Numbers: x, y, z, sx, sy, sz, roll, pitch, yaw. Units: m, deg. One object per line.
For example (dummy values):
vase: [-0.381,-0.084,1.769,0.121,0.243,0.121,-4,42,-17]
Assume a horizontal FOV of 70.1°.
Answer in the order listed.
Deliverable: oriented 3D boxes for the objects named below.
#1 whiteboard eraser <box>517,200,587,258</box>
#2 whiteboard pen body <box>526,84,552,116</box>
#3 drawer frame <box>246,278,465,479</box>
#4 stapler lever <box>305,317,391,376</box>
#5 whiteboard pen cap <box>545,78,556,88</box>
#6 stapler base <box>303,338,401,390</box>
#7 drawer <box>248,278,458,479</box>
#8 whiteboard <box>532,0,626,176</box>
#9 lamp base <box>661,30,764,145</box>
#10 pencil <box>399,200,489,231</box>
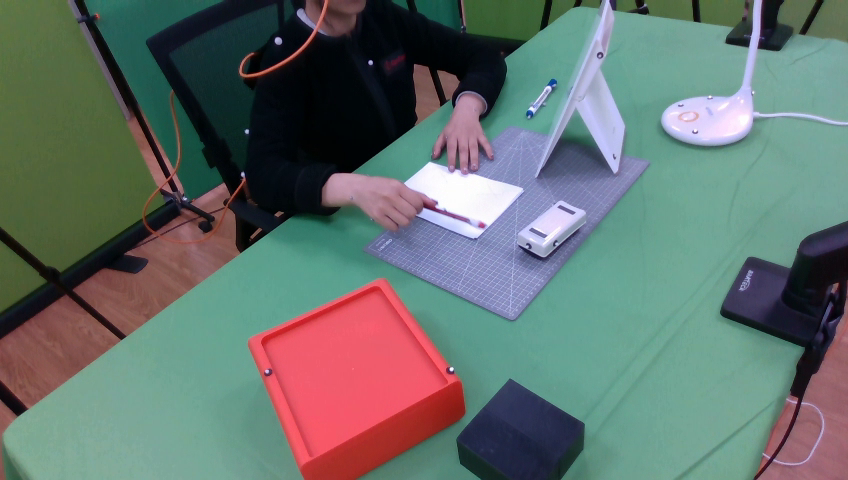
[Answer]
whiteboard eraser: [0.201,-0.016,0.943,0.113,0.042,0.055,-37,46,-29]
whiteboard pen body: [0.251,-0.305,1.298,0.017,0.017,0.141,15,45,26]
drawer frame: [-0.088,0.168,0.752,0.202,0.083,0.211,-24,43,-18]
stapler lever: [-0.099,0.137,0.789,0.118,0.040,0.026,-22,45,-12]
whiteboard pen cap: [0.280,-0.344,1.335,0.018,0.018,0.033,15,44,26]
stapler base: [-0.096,0.159,0.812,0.131,0.024,0.041,-17,44,-17]
drawer: [-0.092,0.168,0.756,0.195,0.073,0.210,-24,43,-18]
whiteboard: [0.321,-0.258,1.050,0.144,0.306,0.217,22,45,5]
lamp base: [0.535,-0.287,1.096,0.179,0.181,0.159,-10,40,-4]
pencil: [0.025,-0.042,0.943,0.192,0.012,0.012,20,48,43]
